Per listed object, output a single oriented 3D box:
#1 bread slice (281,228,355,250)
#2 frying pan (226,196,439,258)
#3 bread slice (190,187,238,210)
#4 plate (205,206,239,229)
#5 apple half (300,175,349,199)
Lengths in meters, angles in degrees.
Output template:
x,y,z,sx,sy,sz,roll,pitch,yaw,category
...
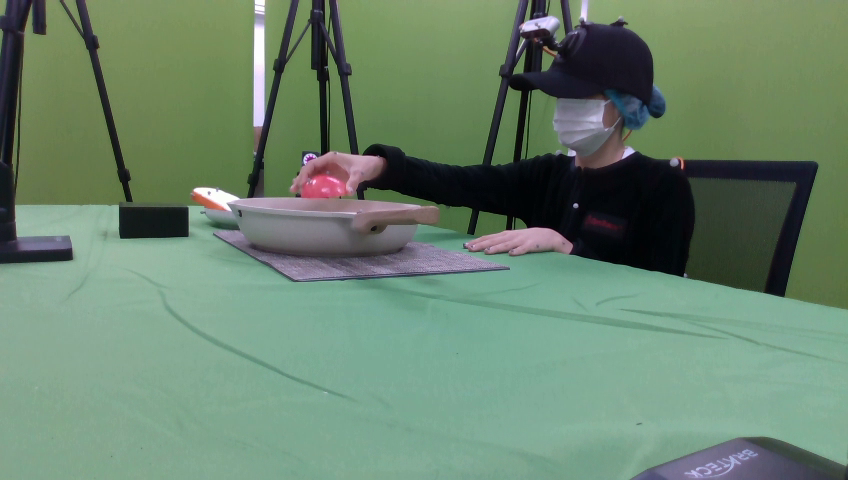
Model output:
x,y,z,sx,sy,sz,roll,pitch,yaw,category
-0.170,-0.004,0.943,0.107,0.018,0.134,2,8,-15,bread slice
-0.103,-0.027,0.845,0.308,0.102,0.486,-1,0,-25,frying pan
-0.402,-0.074,1.218,0.131,0.019,0.105,26,12,15,bread slice
-0.324,-0.046,1.199,0.208,0.039,0.207,3,7,0,plate
-0.158,-0.087,0.958,0.081,0.033,0.081,-4,15,1,apple half
